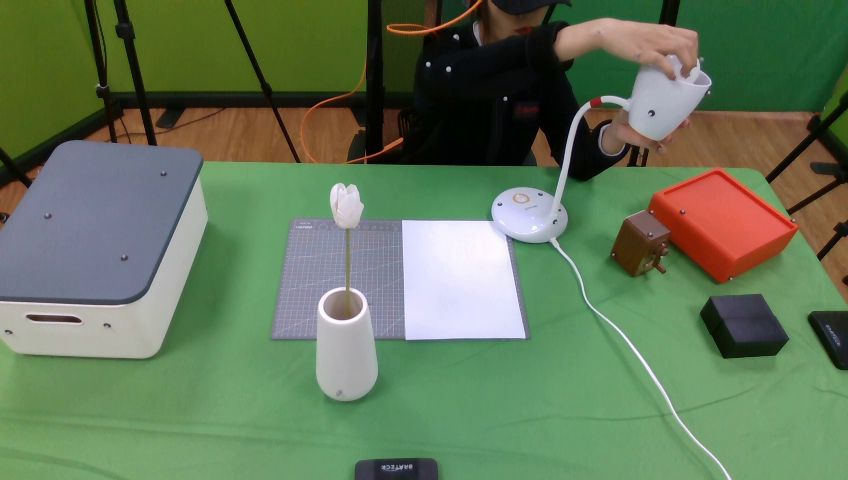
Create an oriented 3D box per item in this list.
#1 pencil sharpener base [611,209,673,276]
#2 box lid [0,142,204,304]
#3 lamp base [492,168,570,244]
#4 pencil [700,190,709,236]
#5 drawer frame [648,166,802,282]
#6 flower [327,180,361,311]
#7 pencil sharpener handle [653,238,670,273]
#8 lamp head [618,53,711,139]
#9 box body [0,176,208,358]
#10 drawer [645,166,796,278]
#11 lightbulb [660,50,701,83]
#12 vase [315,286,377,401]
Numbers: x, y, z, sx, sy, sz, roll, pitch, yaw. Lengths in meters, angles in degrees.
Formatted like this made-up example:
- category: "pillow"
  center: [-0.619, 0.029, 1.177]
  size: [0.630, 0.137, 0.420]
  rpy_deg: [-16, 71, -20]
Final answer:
- category: "pencil sharpener base"
  center: [0.416, 0.007, 1.158]
  size: [0.061, 0.107, 0.076]
  rpy_deg: [-21, 51, -22]
- category: "box lid"
  center: [-0.534, -0.044, 0.995]
  size: [0.263, 0.015, 0.369]
  rpy_deg: [3, 45, -3]
- category: "lamp base"
  center: [0.234, -0.101, 1.200]
  size: [0.161, 0.181, 0.178]
  rpy_deg: [-24, 56, -25]
- category: "pencil"
  center: [0.583, -0.058, 1.257]
  size: [0.012, 0.012, 0.193]
  rpy_deg: [16, 35, 12]
- category: "drawer frame"
  center: [0.603, -0.040, 1.234]
  size: [0.202, 0.083, 0.212]
  rpy_deg: [-21, 51, -23]
- category: "flower"
  center: [-0.110, 0.086, 0.867]
  size: [0.044, 0.363, 0.038]
  rpy_deg: [22, 33, 35]
- category: "pencil sharpener handle"
  center: [0.444, 0.030, 1.120]
  size: [0.036, 0.068, 0.030]
  rpy_deg: [-25, 52, -18]
- category: "lamp head"
  center: [0.378, -0.227, 0.978]
  size: [0.112, 0.123, 0.111]
  rpy_deg: [14, 39, -11]
- category: "box body"
  center: [-0.546, 0.017, 1.045]
  size: [0.254, 0.161, 0.361]
  rpy_deg: [2, 46, -2]
- category: "drawer"
  center: [0.600, -0.041, 1.236]
  size: [0.195, 0.073, 0.210]
  rpy_deg: [-21, 51, -23]
- category: "lightbulb"
  center: [0.396, -0.246, 0.962]
  size: [0.059, 0.108, 0.059]
  rpy_deg: [12, 29, -7]
- category: "vase"
  center: [-0.119, 0.159, 0.911]
  size: [0.098, 0.201, 0.097]
  rpy_deg: [2, 47, -2]
